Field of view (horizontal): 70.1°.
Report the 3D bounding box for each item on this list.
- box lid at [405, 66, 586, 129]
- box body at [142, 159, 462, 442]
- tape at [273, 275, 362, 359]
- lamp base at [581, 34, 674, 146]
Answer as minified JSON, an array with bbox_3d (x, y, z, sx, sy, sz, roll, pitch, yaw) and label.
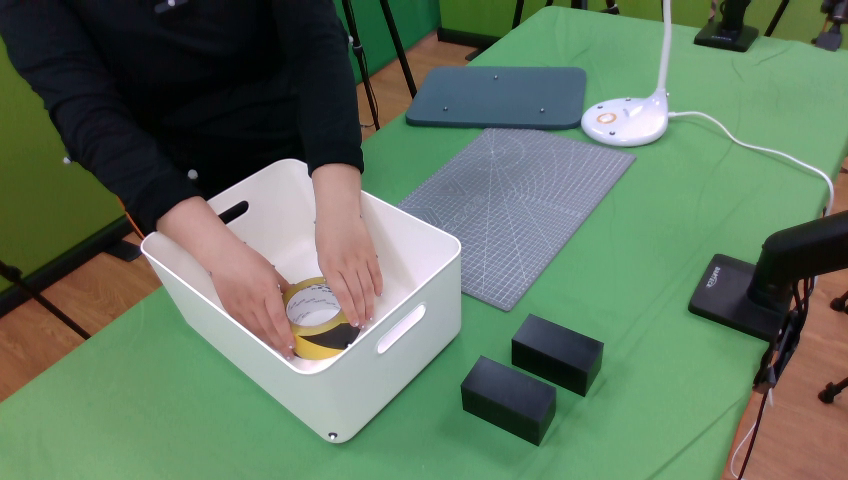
[{"bbox_3d":[0.163,-0.317,1.322,0.370,0.015,0.263,5,42,14],"label":"box lid"},{"bbox_3d":[-0.152,0.063,0.809,0.361,0.161,0.255,27,51,33],"label":"box body"},{"bbox_3d":[-0.145,0.106,0.833,0.117,0.053,0.116,-4,41,4],"label":"tape"},{"bbox_3d":[0.392,-0.291,1.129,0.180,0.181,0.159,-11,41,-8],"label":"lamp base"}]
